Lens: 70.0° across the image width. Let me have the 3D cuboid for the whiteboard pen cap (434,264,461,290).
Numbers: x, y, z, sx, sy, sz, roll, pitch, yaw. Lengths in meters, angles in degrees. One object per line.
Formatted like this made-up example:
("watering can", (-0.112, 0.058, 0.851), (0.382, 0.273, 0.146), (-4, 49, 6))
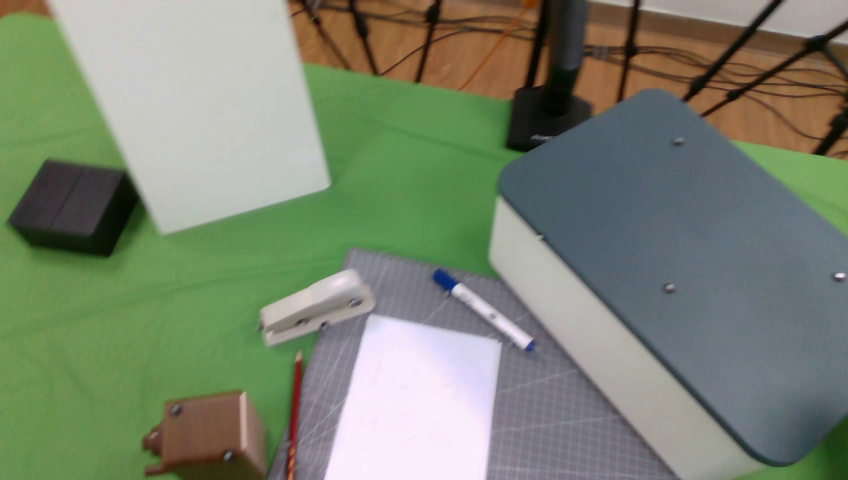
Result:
("whiteboard pen cap", (0.029, 0.045, 0.721), (0.033, 0.018, 0.018), (38, 62, 21))

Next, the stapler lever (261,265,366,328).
("stapler lever", (-0.121, 0.061, 0.668), (0.118, 0.040, 0.026), (-19, 56, -12))

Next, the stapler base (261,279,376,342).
("stapler base", (-0.120, 0.074, 0.689), (0.131, 0.024, 0.041), (-19, 56, -12))

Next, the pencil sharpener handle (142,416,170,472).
("pencil sharpener handle", (-0.243, 0.187, 0.544), (0.031, 0.068, 0.035), (-7, 42, -8))

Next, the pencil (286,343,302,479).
("pencil", (-0.133, 0.195, 0.620), (0.012, 0.012, 0.192), (0, 57, -4))

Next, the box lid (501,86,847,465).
("box lid", (0.277, 0.000, 0.596), (0.263, 0.015, 0.368), (-29, 64, -21))

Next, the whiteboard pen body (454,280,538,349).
("whiteboard pen body", (0.072, 0.077, 0.700), (0.140, 0.017, 0.017), (38, 62, 21))

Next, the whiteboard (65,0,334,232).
("whiteboard", (-0.254, -0.199, 0.726), (0.217, 0.308, 0.142), (-17, 41, -14))

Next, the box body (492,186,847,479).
("box body", (0.274, 0.042, 0.657), (0.254, 0.161, 0.361), (-29, 64, -21))

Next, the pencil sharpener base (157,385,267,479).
("pencil sharpener base", (-0.194, 0.185, 0.565), (0.077, 0.108, 0.061), (-7, 58, -8))
